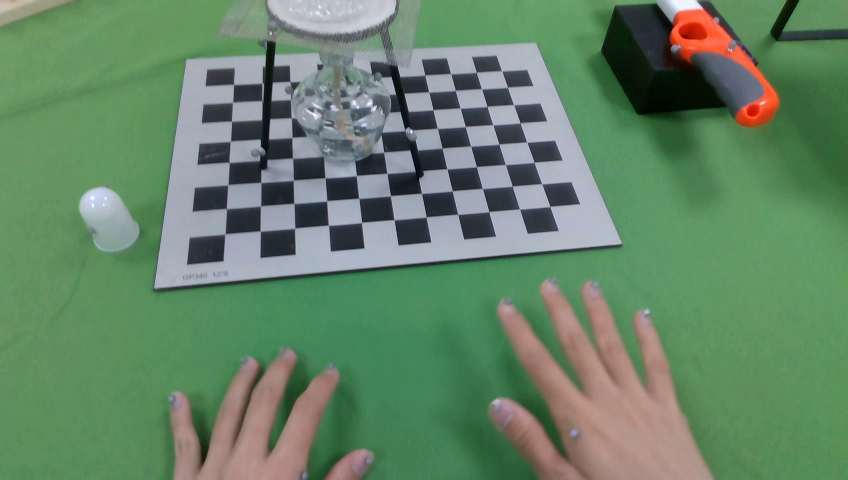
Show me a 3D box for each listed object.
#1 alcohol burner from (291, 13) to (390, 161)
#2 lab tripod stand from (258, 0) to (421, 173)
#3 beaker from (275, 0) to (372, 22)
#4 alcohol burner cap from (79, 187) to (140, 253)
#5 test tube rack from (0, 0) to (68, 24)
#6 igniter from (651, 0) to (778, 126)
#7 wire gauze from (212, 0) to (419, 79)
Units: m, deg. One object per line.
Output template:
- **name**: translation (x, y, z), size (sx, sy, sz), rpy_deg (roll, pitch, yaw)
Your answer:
- **alcohol burner**: translation (-0.066, -0.119, 0.470), size (0.078, 0.120, 0.077), rpy_deg (1, 53, 0)
- **lab tripod stand**: translation (-0.063, -0.124, 0.461), size (0.148, 0.132, 0.147), rpy_deg (3, 52, -3)
- **beaker**: translation (-0.064, -0.192, 0.368), size (0.074, 0.101, 0.083), rpy_deg (2, 53, -3)
- **alcohol burner cap**: translation (-0.227, -0.017, 0.431), size (0.034, 0.048, 0.033), rpy_deg (2, 53, -3)
- **test tube rack**: translation (-0.386, -0.290, 0.600), size (0.242, 0.086, 0.066), rpy_deg (-35, 63, -26)
- **igniter**: translation (0.240, -0.197, 0.549), size (0.057, 0.025, 0.273), rpy_deg (-7, 51, -5)
- **wire gauze**: translation (-0.063, -0.162, 0.408), size (0.125, 0.011, 0.120), rpy_deg (11, 55, 0)
